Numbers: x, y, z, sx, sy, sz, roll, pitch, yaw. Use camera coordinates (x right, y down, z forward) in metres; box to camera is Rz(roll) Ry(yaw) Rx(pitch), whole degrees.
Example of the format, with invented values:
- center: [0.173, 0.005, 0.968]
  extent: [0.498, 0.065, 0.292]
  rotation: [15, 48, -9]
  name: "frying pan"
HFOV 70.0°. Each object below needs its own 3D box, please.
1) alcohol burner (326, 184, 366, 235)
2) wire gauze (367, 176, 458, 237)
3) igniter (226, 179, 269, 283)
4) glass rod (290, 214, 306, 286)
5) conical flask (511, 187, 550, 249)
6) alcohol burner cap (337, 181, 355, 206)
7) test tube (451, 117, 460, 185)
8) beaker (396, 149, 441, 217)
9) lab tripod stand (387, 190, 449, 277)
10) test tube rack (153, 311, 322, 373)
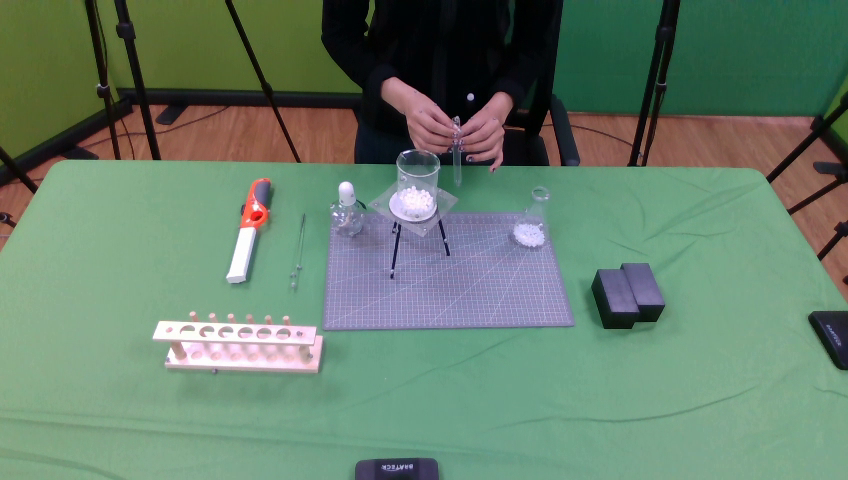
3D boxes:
- center: [-0.152, -0.066, 1.184]
  extent: [0.078, 0.119, 0.077]
  rotation: [4, 46, -4]
  name: "alcohol burner"
- center: [-0.020, -0.066, 1.089]
  extent: [0.124, 0.011, 0.121]
  rotation: [27, 47, 22]
  name: "wire gauze"
- center: [-0.345, -0.027, 1.195]
  extent: [0.057, 0.025, 0.274]
  rotation: [-6, 46, 5]
  name: "igniter"
- center: [-0.244, 0.015, 1.176]
  extent: [0.008, 0.008, 0.198]
  rotation: [1, 43, -3]
  name: "glass rod"
- center: [0.217, -0.048, 1.190]
  extent: [0.075, 0.122, 0.075]
  rotation: [2, 46, -2]
  name: "conical flask"
- center: [-0.151, -0.090, 1.158]
  extent: [0.034, 0.048, 0.033]
  rotation: [0, 52, 0]
  name: "alcohol burner cap"
- center: [0.060, -0.164, 1.139]
  extent: [0.017, 0.151, 0.017]
  rotation: [-2, 45, 2]
  name: "test tube"
- center: [-0.015, -0.098, 1.053]
  extent: [0.074, 0.101, 0.083]
  rotation: [-31, 55, -30]
  name: "beaker"
- center: [-0.021, -0.018, 1.135]
  extent: [0.148, 0.132, 0.147]
  rotation: [3, 44, -3]
  name: "lab tripod stand"
- center: [-0.293, 0.160, 0.978]
  extent: [0.242, 0.085, 0.066]
  rotation: [3, 46, -2]
  name: "test tube rack"
